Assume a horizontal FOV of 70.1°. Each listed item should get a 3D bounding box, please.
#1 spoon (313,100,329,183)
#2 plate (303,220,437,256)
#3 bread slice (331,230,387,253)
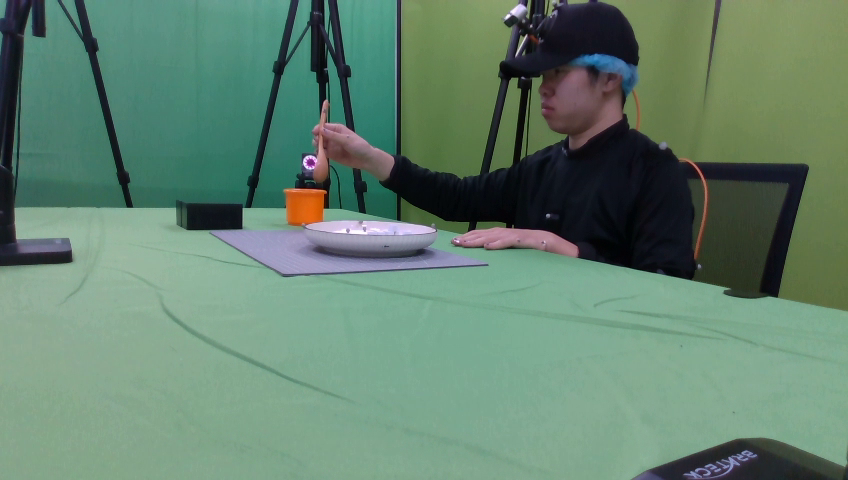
[{"bbox_3d":[-0.209,-0.205,1.234,0.021,0.193,0.042,-15,-27,25],"label":"spoon"},{"bbox_3d":[-0.084,-0.003,0.951,0.209,0.038,0.209,3,7,0],"label":"plate"},{"bbox_3d":[-0.088,0.000,0.947,0.105,0.019,0.131,-4,11,-44],"label":"bread slice"}]
